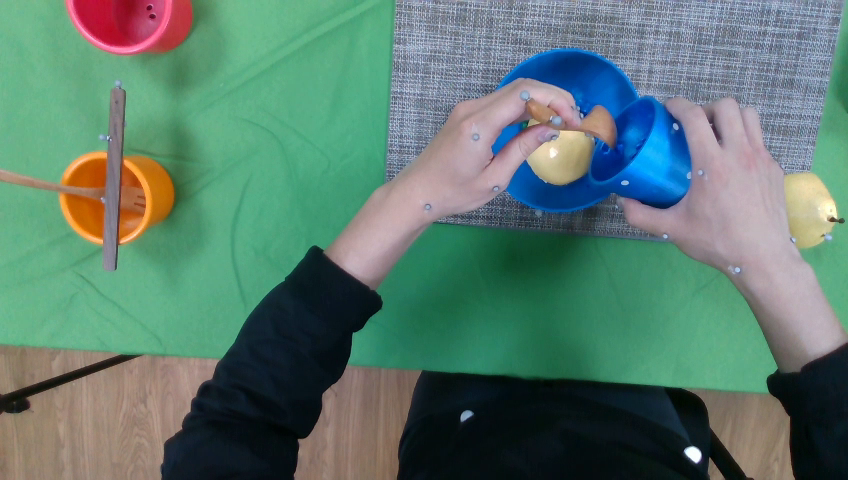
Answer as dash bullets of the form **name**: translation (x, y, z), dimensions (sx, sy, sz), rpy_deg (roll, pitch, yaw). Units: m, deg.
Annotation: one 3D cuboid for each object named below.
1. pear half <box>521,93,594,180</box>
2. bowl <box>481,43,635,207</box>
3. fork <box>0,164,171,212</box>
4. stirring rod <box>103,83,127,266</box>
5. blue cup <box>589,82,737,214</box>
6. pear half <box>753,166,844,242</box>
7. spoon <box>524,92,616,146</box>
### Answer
- **pear half**: translation (0.132, -0.103, 0.593), dimensions (0.070, 0.031, 0.088), rpy_deg (-22, 96, 0)
- **bowl**: translation (0.128, -0.112, 0.598), dimensions (0.151, 0.076, 0.152), rpy_deg (0, 102, 1)
- **fork**: translation (-0.348, -0.056, 0.580), dimensions (0.209, 0.018, 0.028), rpy_deg (12, 116, -47)
- **stirring rod**: translation (-0.295, -0.060, 0.577), dimensions (0.014, 0.006, 0.176), rpy_deg (8, 103, -4)
- **blue cup**: translation (0.211, -0.069, 0.526), dimensions (0.100, 0.092, 0.093), rpy_deg (24, 102, -12)
- **pear half**: translation (0.367, -0.032, 0.599), dimensions (0.056, 0.109, 0.076), rpy_deg (-14, 98, 4)
- **spoon**: translation (0.115, -0.093, 0.462), dimensions (0.021, 0.194, 0.041), rpy_deg (-21, 84, 34)
